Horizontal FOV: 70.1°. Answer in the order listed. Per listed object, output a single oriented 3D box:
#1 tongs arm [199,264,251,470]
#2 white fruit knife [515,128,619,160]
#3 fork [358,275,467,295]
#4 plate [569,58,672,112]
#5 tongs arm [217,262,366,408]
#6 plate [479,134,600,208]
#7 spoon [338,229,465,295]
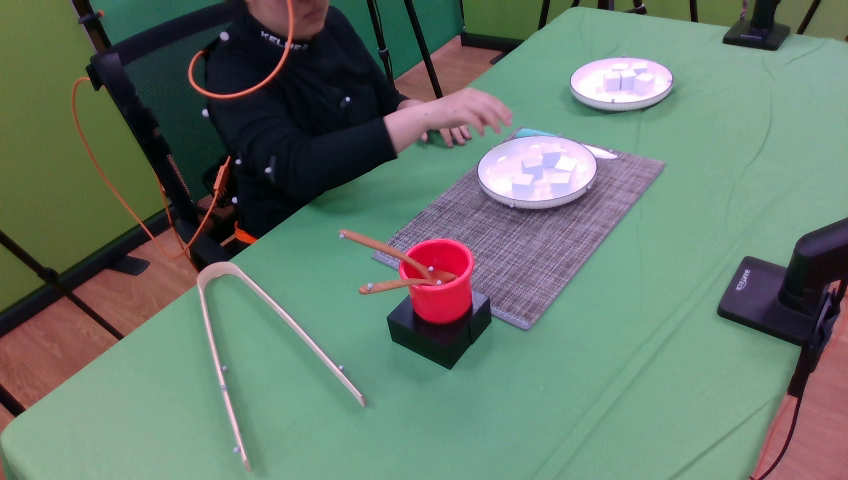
[{"bbox_3d":[-0.270,0.154,0.841,0.051,0.026,0.381,-22,40,-17],"label":"tongs arm"},{"bbox_3d":[0.269,-0.182,1.148,0.206,0.016,0.027,21,77,29],"label":"white fruit knife"},{"bbox_3d":[-0.009,0.056,0.739,0.028,0.018,0.209,48,23,26],"label":"fork"},{"bbox_3d":[0.411,-0.323,1.274,0.209,0.038,0.208,-5,41,5],"label":"plate"},{"bbox_3d":[-0.200,0.123,0.872,0.028,0.028,0.384,-35,46,-25],"label":"tongs arm"},{"bbox_3d":[0.202,-0.117,1.065,0.207,0.039,0.206,-5,40,5],"label":"plate"},{"bbox_3d":[-0.025,0.026,0.776,0.021,0.195,0.041,-41,34,32],"label":"spoon"}]
